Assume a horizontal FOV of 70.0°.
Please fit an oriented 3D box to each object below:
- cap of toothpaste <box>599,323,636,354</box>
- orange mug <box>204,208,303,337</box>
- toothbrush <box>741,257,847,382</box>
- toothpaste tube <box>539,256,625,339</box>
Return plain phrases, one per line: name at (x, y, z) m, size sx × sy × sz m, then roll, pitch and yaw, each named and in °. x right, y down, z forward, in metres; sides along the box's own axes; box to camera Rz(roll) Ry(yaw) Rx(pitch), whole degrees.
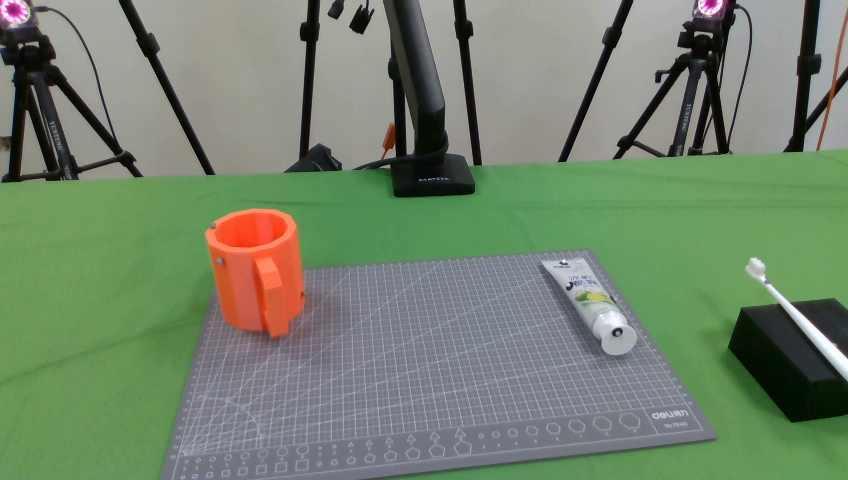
cap of toothpaste at (0.184, 0.093, 0.581) m, size 0.037 × 0.037 × 0.011 m, roll -5°, pitch 29°, yaw -8°
orange mug at (-0.165, 0.036, 0.610) m, size 0.084 × 0.101 × 0.125 m, roll -14°, pitch 31°, yaw -22°
toothbrush at (0.344, 0.070, 0.556) m, size 0.014 × 0.017 × 0.180 m, roll 2°, pitch 32°, yaw -6°
toothpaste tube at (0.175, 0.058, 0.650) m, size 0.055 × 0.035 × 0.163 m, roll 1°, pitch 27°, yaw -11°
